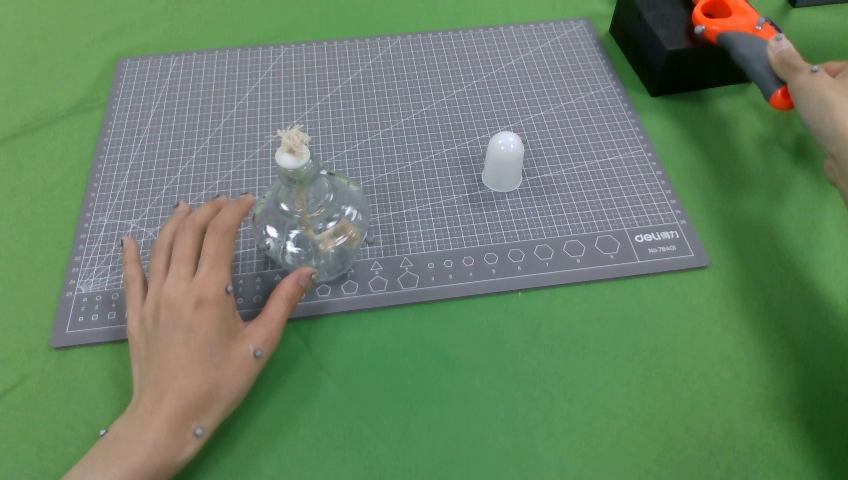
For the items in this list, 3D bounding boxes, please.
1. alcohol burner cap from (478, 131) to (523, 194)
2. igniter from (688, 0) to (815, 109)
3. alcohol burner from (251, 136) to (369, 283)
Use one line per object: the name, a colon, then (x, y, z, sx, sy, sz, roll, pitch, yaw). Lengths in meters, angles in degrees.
alcohol burner cap: (0.060, -0.062, 0.461, 0.034, 0.048, 0.033, 1, 53, -1)
igniter: (0.246, -0.204, 0.519, 0.057, 0.025, 0.273, -11, 53, -5)
alcohol burner: (-0.076, -0.024, 0.389, 0.078, 0.120, 0.077, 0, 56, 1)
